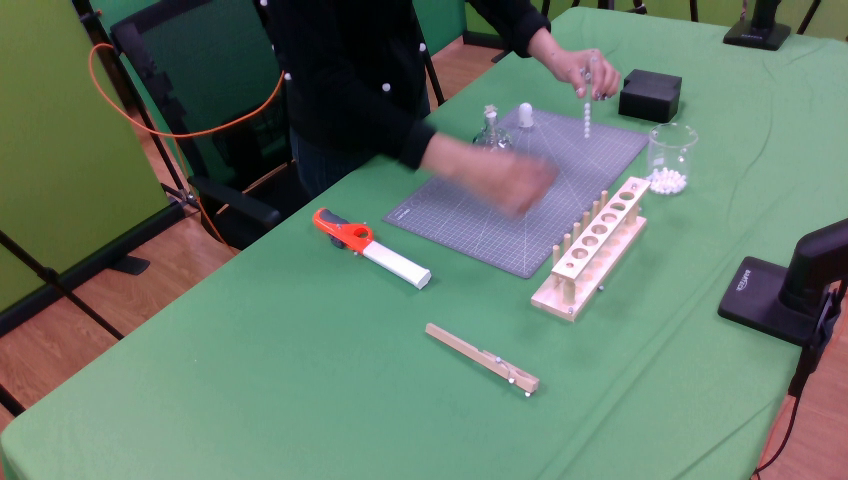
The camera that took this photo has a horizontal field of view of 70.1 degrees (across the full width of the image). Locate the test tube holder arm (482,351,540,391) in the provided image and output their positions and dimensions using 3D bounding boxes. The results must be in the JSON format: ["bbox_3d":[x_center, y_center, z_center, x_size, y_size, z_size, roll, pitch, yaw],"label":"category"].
[{"bbox_3d":[0.107,0.166,0.769,0.087,0.015,0.010,24,16,34],"label":"test tube holder arm"}]

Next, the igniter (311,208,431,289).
[{"bbox_3d":[-0.096,0.008,0.986,0.274,0.025,0.057,28,62,36],"label":"igniter"}]

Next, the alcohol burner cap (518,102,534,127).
[{"bbox_3d":[0.205,-0.255,1.223,0.034,0.048,0.033,-6,41,6],"label":"alcohol burner cap"}]

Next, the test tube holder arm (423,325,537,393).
[{"bbox_3d":[0.069,0.152,0.789,0.177,0.015,0.013,23,15,32],"label":"test tube holder arm"}]

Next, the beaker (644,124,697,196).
[{"bbox_3d":[0.407,-0.131,1.001,0.084,0.101,0.073,-20,42,-14],"label":"beaker"}]

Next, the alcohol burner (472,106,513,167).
[{"bbox_3d":[0.125,-0.194,1.111,0.078,0.119,0.077,-5,42,5],"label":"alcohol burner"}]

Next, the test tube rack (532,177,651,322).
[{"bbox_3d":[0.248,0.002,0.883,0.066,0.085,0.243,22,49,32],"label":"test tube rack"}]

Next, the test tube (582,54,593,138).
[{"bbox_3d":[0.264,-0.229,0.977,0.017,0.151,0.017,-7,43,7],"label":"test tube"}]
